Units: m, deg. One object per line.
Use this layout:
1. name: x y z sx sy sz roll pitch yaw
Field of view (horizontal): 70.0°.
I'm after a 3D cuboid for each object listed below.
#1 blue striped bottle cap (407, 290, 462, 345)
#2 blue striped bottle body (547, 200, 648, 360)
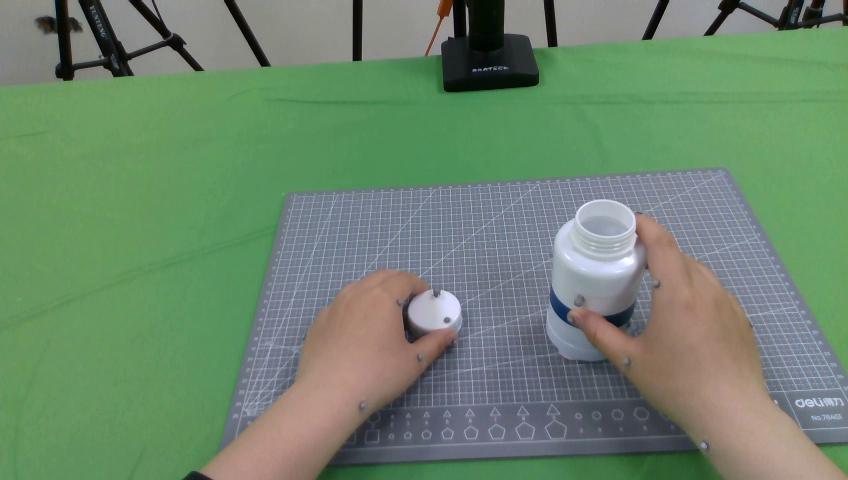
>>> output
1. blue striped bottle cap: 0.008 0.062 0.491 0.044 0.021 0.044 -1 43 2
2. blue striped bottle body: 0.124 0.028 0.437 0.063 0.122 0.062 -3 44 3
